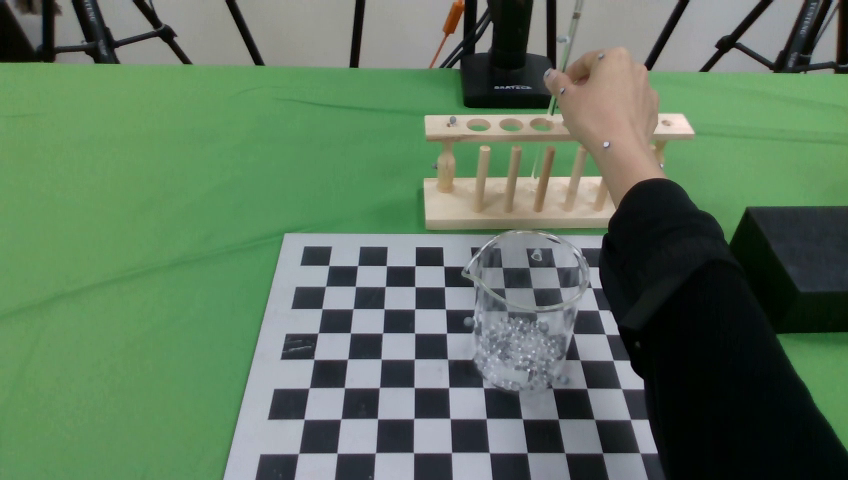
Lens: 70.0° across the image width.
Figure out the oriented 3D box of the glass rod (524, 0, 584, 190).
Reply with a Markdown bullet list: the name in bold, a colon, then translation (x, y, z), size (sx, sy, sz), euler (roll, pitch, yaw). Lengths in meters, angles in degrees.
- **glass rod**: translation (0.115, -0.128, 0.542), size (0.008, 0.201, 0.008), euler (6, 39, -4)

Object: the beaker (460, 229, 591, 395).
- **beaker**: translation (0.066, 0.054, 0.423), size (0.084, 0.101, 0.073), euler (0, 42, 0)

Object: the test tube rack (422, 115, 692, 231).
- **test tube rack**: translation (0.121, -0.063, 0.569), size (0.242, 0.086, 0.066), euler (-1, 42, -2)
